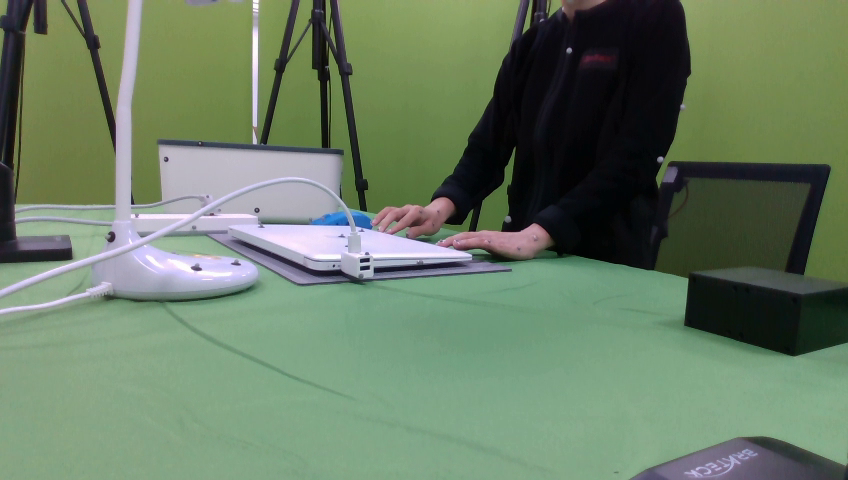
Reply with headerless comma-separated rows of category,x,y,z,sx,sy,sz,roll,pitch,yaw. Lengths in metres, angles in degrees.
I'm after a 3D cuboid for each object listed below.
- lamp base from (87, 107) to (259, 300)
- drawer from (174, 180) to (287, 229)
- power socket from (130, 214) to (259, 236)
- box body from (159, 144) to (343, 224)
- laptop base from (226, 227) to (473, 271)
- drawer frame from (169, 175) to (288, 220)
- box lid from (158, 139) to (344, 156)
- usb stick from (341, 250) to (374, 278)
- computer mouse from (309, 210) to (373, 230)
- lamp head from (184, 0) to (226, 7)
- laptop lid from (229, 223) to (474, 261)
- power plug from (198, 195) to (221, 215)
lamp base,-0.254,-0.039,0.603,0.160,0.180,0.179,5,10,18
drawer,-0.413,-0.080,1.325,0.212,0.073,0.194,-8,11,-8
power socket,-0.397,-0.028,1.048,0.228,0.032,0.072,-3,7,-35
box body,-0.364,-0.128,1.337,0.365,0.160,0.253,1,7,-8
laptop base,-0.124,0.011,0.889,0.237,0.023,0.352,2,6,-35
drawer frame,-0.414,-0.096,1.320,0.214,0.082,0.201,-5,7,-8
box lid,-0.363,-0.201,1.328,0.372,0.015,0.262,2,7,-8
usb stick,-0.078,0.026,0.686,0.021,0.027,0.059,-8,8,-30
computer mouse,-0.157,-0.034,1.139,0.118,0.041,0.062,-6,12,-28
lamp head,-0.229,-0.320,0.627,0.112,0.112,0.123,6,-35,26
laptop lid,-0.121,0.000,0.888,0.243,0.013,0.355,1,7,-33
power plug,-0.386,-0.055,1.088,0.035,0.052,0.072,-2,7,-24
